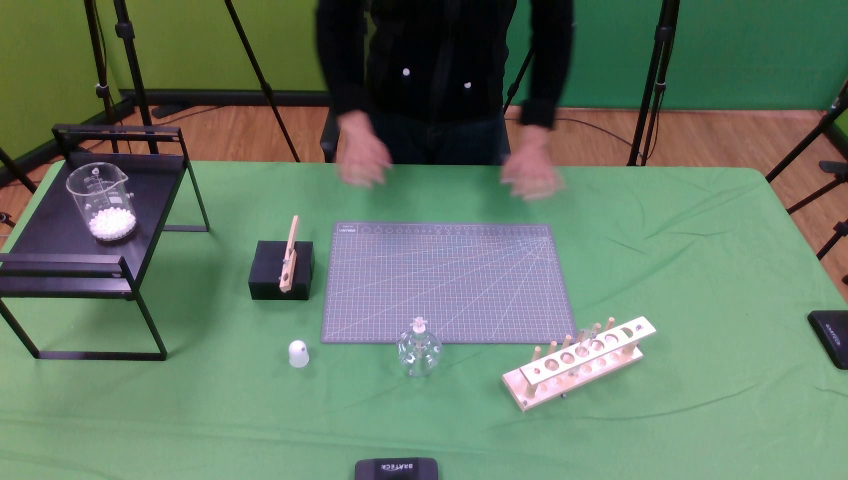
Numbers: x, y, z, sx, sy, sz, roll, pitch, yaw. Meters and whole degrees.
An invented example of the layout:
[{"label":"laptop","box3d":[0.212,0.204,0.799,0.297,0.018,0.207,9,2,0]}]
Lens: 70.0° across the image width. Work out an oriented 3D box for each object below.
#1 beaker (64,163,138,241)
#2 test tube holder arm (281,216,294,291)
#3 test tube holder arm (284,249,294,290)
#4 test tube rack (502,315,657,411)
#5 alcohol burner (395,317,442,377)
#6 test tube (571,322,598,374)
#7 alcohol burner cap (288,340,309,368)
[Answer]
[{"label":"beaker","box3d":[-0.477,-0.055,0.910,0.084,0.101,0.073,-9,48,-13]},{"label":"test tube holder arm","box3d":[-0.246,0.020,1.095,0.013,0.015,0.177,-4,45,-4]},{"label":"test tube holder arm","box3d":[-0.237,0.052,1.064,0.010,0.015,0.087,-2,45,-3]},{"label":"test tube rack","box3d":[0.253,0.186,0.988,0.242,0.085,0.066,-18,50,-20]},{"label":"alcohol burner","box3d":[-0.009,0.166,0.971,0.078,0.120,0.077,0,45,0]},{"label":"test tube","box3d":[0.246,0.169,0.936,0.017,0.151,0.017,-1,53,1]},{"label":"alcohol burner cap","box3d":[-0.207,0.183,0.991,0.034,0.048,0.033,3,47,-3]}]
